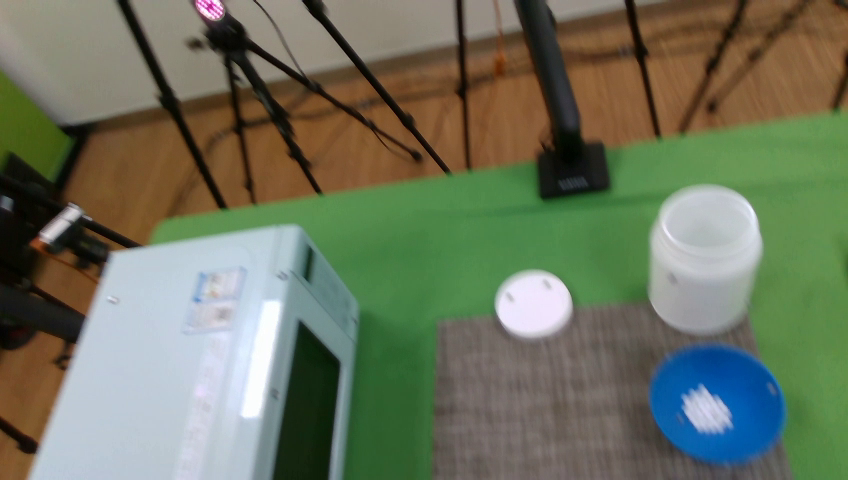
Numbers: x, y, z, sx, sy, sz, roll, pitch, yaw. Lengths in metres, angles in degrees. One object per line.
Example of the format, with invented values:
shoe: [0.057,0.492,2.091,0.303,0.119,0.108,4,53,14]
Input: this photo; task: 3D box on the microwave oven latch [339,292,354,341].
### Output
microwave oven latch: [-0.130,0.126,0.984,0.030,0.030,0.078,-8,56,13]

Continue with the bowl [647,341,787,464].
bowl: [0.357,0.209,0.754,0.151,0.077,0.150,-9,55,14]

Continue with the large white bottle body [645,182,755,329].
large white bottle body: [0.364,0.022,0.811,0.130,0.186,0.129,-10,51,12]

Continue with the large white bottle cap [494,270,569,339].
large white bottle cap: [0.165,0.098,0.933,0.114,0.018,0.113,-9,54,13]

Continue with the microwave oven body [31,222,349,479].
microwave oven body: [-0.300,0.242,0.841,0.325,0.263,0.437,-9,56,12]

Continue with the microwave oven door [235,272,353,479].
microwave oven door: [-0.161,0.250,0.781,0.039,0.246,0.352,-9,55,13]

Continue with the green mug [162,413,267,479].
green mug: [-0.279,0.286,0.831,0.125,0.106,0.091,-17,56,0]
